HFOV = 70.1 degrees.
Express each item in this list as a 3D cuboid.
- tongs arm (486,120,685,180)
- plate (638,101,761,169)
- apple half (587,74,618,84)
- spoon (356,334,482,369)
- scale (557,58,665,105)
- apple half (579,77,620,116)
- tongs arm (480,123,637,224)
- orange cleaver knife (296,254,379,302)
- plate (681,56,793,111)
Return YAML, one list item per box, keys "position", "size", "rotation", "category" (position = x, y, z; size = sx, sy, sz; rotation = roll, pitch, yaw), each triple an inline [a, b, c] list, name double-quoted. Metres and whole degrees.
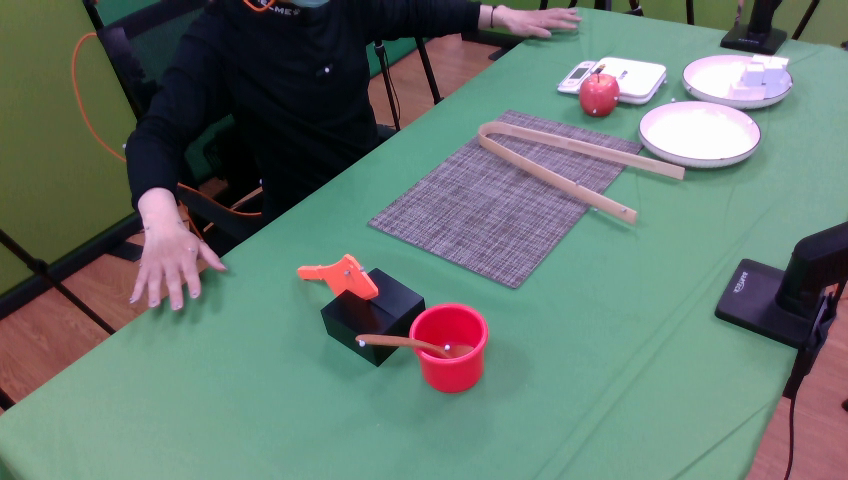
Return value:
- position: [0.287, -0.171, 1.123]
  size: [0.384, 0.028, 0.028]
  rotation: [21, 52, 29]
  category: "tongs arm"
- position: [0.500, -0.189, 1.111]
  size: [0.209, 0.038, 0.208]
  rotation: [-4, 41, 4]
  category: "plate"
- position: [0.366, -0.310, 1.243]
  size: [0.081, 0.081, 0.033]
  rotation: [15, 49, 24]
  category: "apple half"
- position: [-0.001, 0.130, 0.731]
  size: [0.195, 0.021, 0.041]
  rotation: [21, 27, -39]
  category: "spoon"
- position: [0.407, -0.348, 1.314]
  size: [0.199, 0.032, 0.149]
  rotation: [19, 47, 28]
  category: "scale"
- position: [0.348, -0.285, 1.218]
  size: [0.080, 0.075, 0.053]
  rotation: [17, 49, 22]
  category: "apple half"
- position: [0.228, -0.128, 1.080]
  size: [0.051, 0.026, 0.381]
  rotation: [-33, 46, -26]
  category: "tongs arm"
- position: [-0.129, 0.058, 0.874]
  size: [0.012, 0.077, 0.210]
  rotation: [-39, 17, -30]
  category: "orange cleaver knife"
- position: [0.636, -0.317, 1.239]
  size: [0.207, 0.039, 0.206]
  rotation: [-4, 40, 4]
  category: "plate"
